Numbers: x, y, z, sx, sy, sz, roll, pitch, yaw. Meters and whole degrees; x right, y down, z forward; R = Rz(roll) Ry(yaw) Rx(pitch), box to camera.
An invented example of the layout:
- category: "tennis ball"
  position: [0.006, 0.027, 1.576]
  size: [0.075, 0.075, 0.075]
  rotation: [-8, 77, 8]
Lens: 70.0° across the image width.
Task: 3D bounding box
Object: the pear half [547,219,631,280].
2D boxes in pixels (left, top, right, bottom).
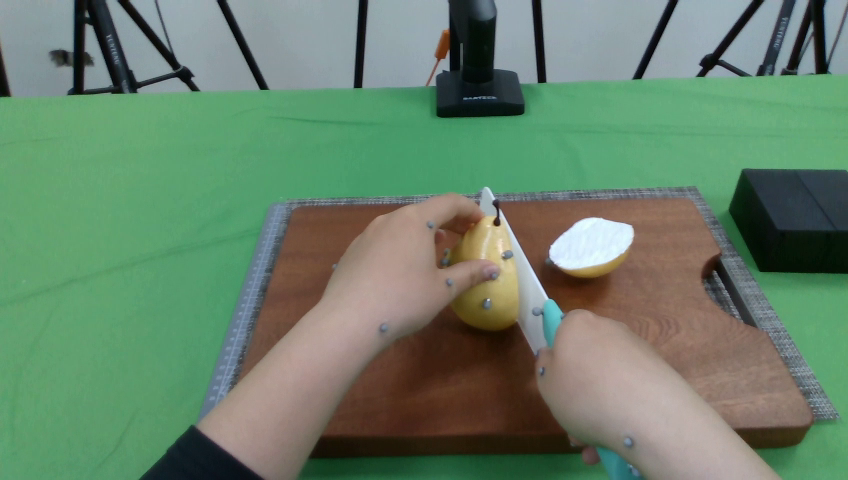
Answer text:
- category: "pear half"
  position: [0.142, 0.012, 0.519]
  size: [0.070, 0.031, 0.087]
  rotation: [-8, 23, 17]

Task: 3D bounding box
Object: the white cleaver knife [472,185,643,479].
- category: "white cleaver knife"
  position: [0.082, 0.057, 0.442]
  size: [0.021, 0.066, 0.283]
  rotation: [-8, 40, -9]

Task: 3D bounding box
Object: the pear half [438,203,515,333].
- category: "pear half"
  position: [0.038, 0.019, 0.455]
  size: [0.056, 0.111, 0.075]
  rotation: [-10, 36, -9]
